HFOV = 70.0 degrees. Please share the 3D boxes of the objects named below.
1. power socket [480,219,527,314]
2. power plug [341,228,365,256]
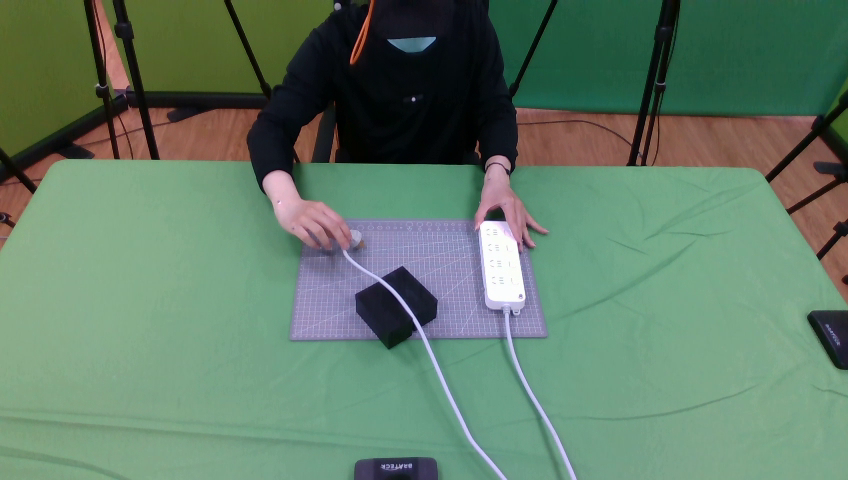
[{"bbox_3d":[0.148,0.042,1.151,0.072,0.033,0.225,1,46,-1],"label":"power socket"},{"bbox_3d":[-0.139,0.010,1.160,0.035,0.053,0.072,-9,55,42],"label":"power plug"}]
